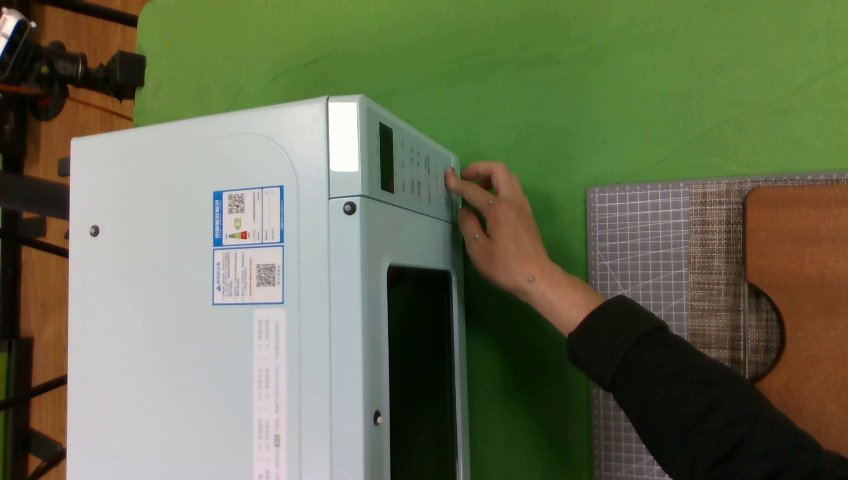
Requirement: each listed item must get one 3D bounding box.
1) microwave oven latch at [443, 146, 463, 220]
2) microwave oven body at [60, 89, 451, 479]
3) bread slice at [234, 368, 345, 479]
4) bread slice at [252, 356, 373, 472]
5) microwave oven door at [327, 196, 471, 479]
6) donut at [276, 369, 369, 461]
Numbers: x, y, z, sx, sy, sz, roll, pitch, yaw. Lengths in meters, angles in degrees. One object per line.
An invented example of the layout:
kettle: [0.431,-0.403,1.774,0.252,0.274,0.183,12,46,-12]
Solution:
microwave oven latch: [0.022,-0.061,0.651,0.030,0.029,0.079,-9,85,20]
microwave oven body: [-0.148,0.117,0.604,0.325,0.261,0.441,-3,86,21]
bread slice: [-0.132,0.181,0.579,0.134,0.018,0.106,-15,84,34]
bread slice: [-0.126,0.184,0.655,0.131,0.019,0.105,12,96,15]
microwave oven door: [-0.013,0.150,0.544,0.039,0.245,0.355,-4,86,21]
donut: [-0.104,0.178,0.619,0.099,0.048,0.099,2,104,10]
